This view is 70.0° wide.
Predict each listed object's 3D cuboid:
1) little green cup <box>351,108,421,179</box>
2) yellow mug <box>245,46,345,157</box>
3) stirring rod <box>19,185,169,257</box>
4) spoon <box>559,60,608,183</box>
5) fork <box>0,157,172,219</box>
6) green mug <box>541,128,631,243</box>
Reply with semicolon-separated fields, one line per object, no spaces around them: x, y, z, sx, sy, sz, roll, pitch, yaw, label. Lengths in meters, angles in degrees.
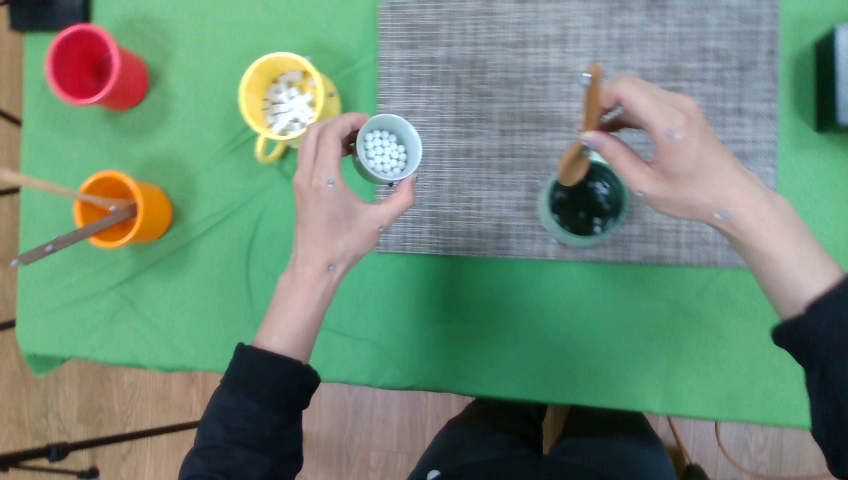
-0.037;-0.085;0.554;0.062;0.038;0.061;3;82;-19;little green cup
-0.159;-0.157;0.720;0.100;0.064;0.131;29;96;7;yellow mug
-0.386;-0.025;0.719;0.176;0.006;0.014;-33;85;-35;stirring rod
0.128;-0.087;0.471;0.041;0.195;0.021;-43;77;-3;spoon
-0.406;-0.063;0.716;0.209;0.018;0.028;19;90;-35;fork
0.178;-0.059;0.646;0.092;0.105;0.125;20;93;9;green mug
